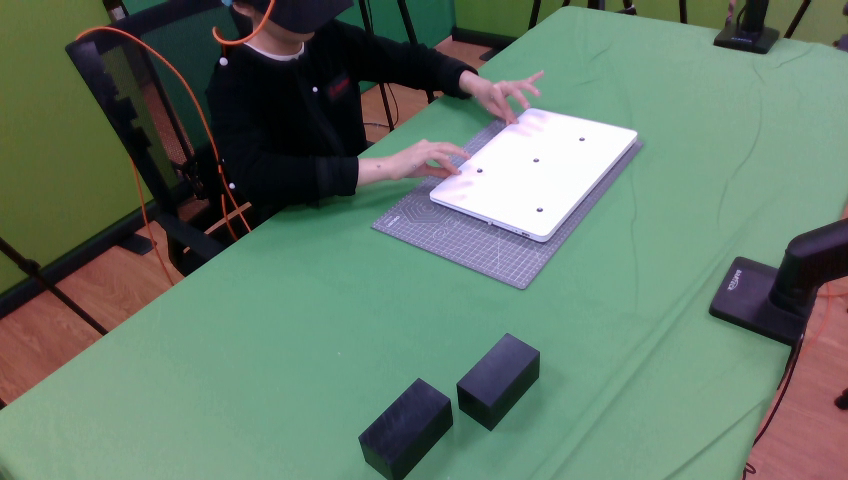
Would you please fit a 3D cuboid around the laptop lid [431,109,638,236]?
[{"bbox_3d":[0.205,-0.139,1.091,0.239,0.013,0.358,23,49,33],"label":"laptop lid"}]

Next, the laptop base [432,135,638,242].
[{"bbox_3d":[0.208,-0.129,1.098,0.233,0.023,0.355,20,47,34],"label":"laptop base"}]
